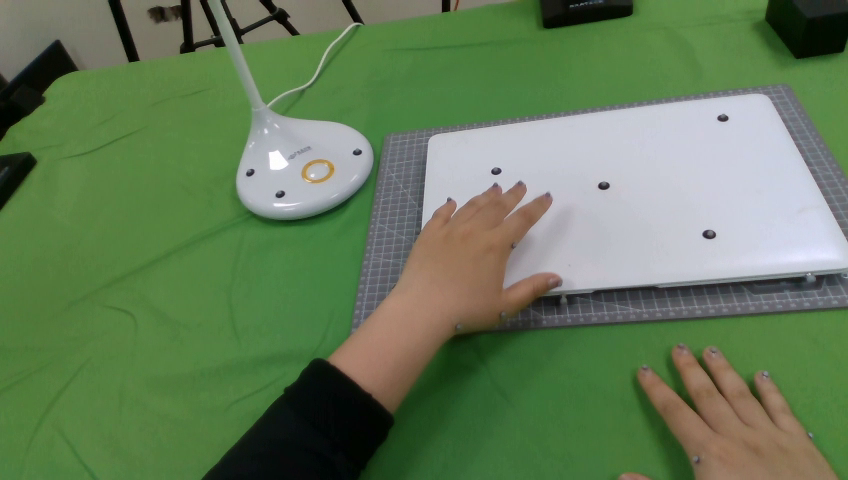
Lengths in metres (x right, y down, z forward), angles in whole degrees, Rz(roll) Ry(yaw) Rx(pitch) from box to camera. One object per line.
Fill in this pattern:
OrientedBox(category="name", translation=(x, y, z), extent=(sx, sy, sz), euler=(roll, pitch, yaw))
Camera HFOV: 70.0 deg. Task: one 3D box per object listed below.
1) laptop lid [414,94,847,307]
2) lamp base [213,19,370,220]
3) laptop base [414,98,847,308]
OrientedBox(category="laptop lid", translation=(0.167, -0.046, 0.570), extent=(0.356, 0.013, 0.239), euler=(-5, 48, 11))
OrientedBox(category="lamp base", translation=(-0.164, -0.138, 0.649), extent=(0.177, 0.182, 0.160), euler=(27, 58, 37))
OrientedBox(category="laptop base", translation=(0.170, -0.040, 0.581), extent=(0.354, 0.023, 0.233), euler=(-6, 49, 9))
